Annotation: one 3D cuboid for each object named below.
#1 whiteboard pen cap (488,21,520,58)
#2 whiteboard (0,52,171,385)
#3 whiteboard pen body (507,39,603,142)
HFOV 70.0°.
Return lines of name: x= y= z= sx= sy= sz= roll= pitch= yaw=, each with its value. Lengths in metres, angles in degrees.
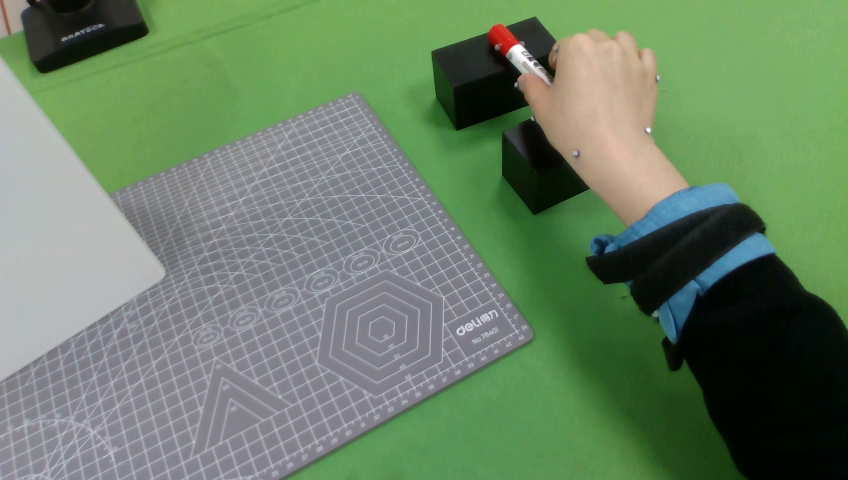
whiteboard pen cap: x=0.068 y=-0.166 z=0.503 sx=0.017 sy=0.017 sz=0.032 roll=-24 pitch=58 yaw=-10
whiteboard: x=-0.358 y=-0.053 z=0.390 sx=0.217 sy=0.308 sz=0.142 roll=-35 pitch=40 yaw=-16
whiteboard pen body: x=0.094 y=-0.125 z=0.473 sx=0.017 sy=0.017 sz=0.139 roll=-25 pitch=58 yaw=-11
